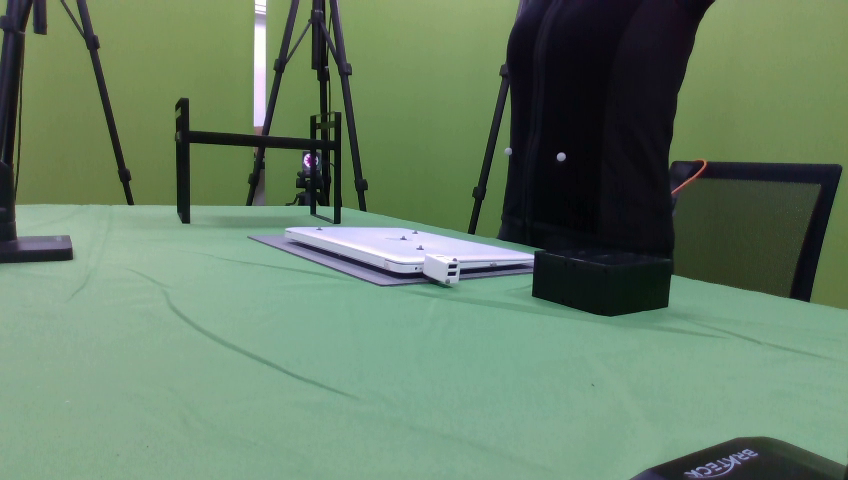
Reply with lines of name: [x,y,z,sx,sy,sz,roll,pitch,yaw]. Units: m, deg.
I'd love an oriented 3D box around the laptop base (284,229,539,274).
laptop base: [-0.034,0.013,0.898,0.237,0.023,0.352,1,7,-36]

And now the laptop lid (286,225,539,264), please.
laptop lid: [-0.032,0.002,0.898,0.243,0.013,0.355,0,8,-34]

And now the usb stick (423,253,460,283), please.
usb stick: [0.015,0.031,0.698,0.021,0.027,0.059,-2,10,-34]
